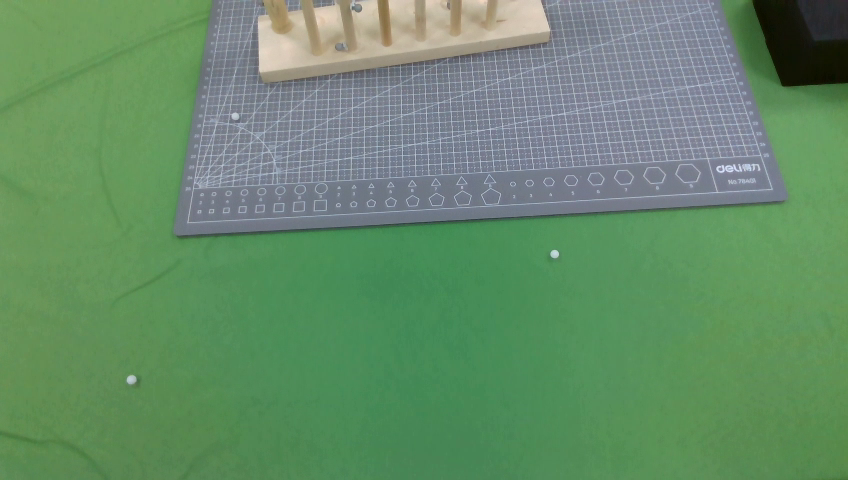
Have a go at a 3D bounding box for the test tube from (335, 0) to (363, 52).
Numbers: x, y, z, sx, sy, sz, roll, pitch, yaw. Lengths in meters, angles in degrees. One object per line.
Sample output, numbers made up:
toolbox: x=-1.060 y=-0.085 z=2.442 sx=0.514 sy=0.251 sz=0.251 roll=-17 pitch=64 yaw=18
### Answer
test tube: x=-0.062 y=-0.196 z=0.439 sx=0.017 sy=0.152 sz=0.017 roll=-1 pitch=62 yaw=3

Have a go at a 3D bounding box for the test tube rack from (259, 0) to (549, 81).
test tube rack: x=-0.021 y=-0.198 z=0.488 sx=0.242 sy=0.086 sz=0.066 roll=-9 pitch=63 yaw=-1
